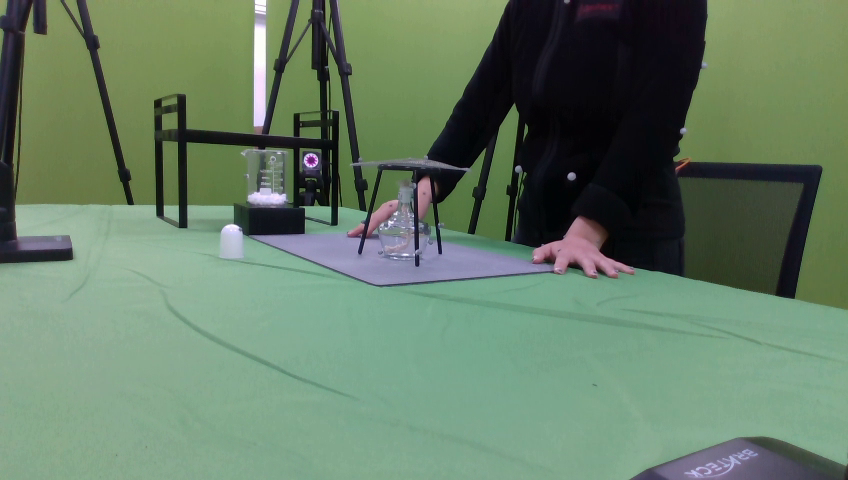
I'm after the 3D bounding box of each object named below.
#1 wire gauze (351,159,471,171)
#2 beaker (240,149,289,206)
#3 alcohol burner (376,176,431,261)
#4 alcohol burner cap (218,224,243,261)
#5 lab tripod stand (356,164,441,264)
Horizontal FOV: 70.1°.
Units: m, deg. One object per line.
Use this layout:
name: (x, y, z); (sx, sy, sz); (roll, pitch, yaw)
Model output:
wire gauze: (-0.019, -0.106, 0.847); (0.121, 0.011, 0.126); (8, 7, 42)
beaker: (-0.286, -0.112, 1.086); (0.084, 0.100, 0.073); (-1, 9, -23)
alcohol burner: (-0.029, -0.031, 0.859); (0.078, 0.119, 0.078); (2, 9, 0)
alcohol burner cap: (-0.263, 0.002, 0.824); (0.034, 0.048, 0.034); (5, 9, 0)
lab tripod stand: (-0.024, -0.041, 0.859); (0.148, 0.131, 0.148); (2, 5, 0)
